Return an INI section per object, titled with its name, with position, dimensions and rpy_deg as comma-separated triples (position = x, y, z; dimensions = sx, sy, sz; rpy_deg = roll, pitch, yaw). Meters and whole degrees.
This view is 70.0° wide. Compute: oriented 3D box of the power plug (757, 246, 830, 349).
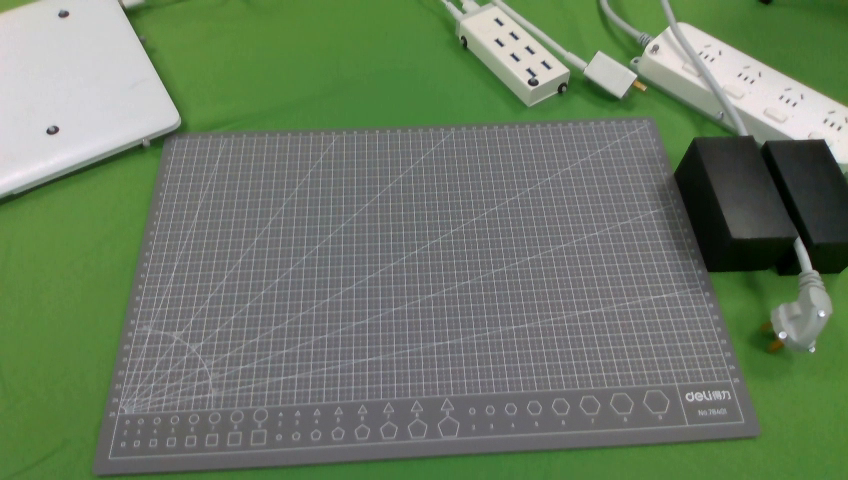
[power plug]
position = 0.272, 0.048, 0.447
dimensions = 0.035, 0.053, 0.072
rpy_deg = 35, 49, -3

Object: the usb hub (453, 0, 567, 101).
[usb hub]
position = 0.083, -0.191, 0.601
dimensions = 0.049, 0.025, 0.124
rpy_deg = -29, 63, -17

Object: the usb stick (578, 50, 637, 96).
[usb stick]
position = 0.180, -0.158, 0.581
dimensions = 0.059, 0.027, 0.021
rpy_deg = 27, 16, 0

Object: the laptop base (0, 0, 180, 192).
[laptop base]
position = -0.428, -0.115, 0.552
dimensions = 0.354, 0.023, 0.233
rpy_deg = -27, 66, -17

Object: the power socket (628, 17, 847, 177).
[power socket]
position = 0.302, -0.138, 0.567
dimensions = 0.225, 0.033, 0.072
rpy_deg = 39, 65, 21

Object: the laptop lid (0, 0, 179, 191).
[laptop lid]
position = -0.427, -0.119, 0.541
dimensions = 0.357, 0.013, 0.239
rpy_deg = -26, 65, -16
